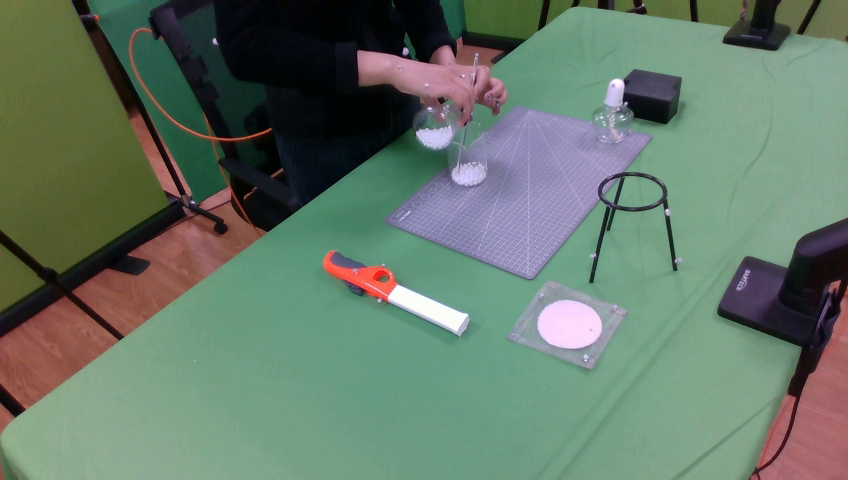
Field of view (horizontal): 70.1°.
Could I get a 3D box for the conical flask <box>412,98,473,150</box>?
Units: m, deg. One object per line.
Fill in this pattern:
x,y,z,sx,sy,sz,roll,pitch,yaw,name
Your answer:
0.040,-0.200,0.996,0.075,0.075,0.122,14,32,26,conical flask

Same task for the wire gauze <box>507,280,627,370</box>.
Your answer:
0.196,0.114,0.823,0.120,0.011,0.125,20,50,31,wire gauze

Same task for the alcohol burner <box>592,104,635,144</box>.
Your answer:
0.353,-0.242,1.126,0.078,0.119,0.077,-5,38,5,alcohol burner

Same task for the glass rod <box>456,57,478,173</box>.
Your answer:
0.074,-0.216,1.054,0.008,0.200,0.008,9,14,-2,glass rod

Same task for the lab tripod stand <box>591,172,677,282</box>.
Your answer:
0.292,-0.022,0.867,0.148,0.132,0.147,-7,39,6,lab tripod stand

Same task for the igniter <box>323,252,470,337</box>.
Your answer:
-0.052,0.075,0.901,0.274,0.025,0.057,22,60,32,igniter

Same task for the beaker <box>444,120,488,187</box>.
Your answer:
0.078,-0.150,1.083,0.074,0.101,0.083,-9,40,1,beaker

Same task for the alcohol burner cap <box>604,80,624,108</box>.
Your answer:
0.350,-0.269,1.102,0.034,0.048,0.033,-2,46,2,alcohol burner cap
